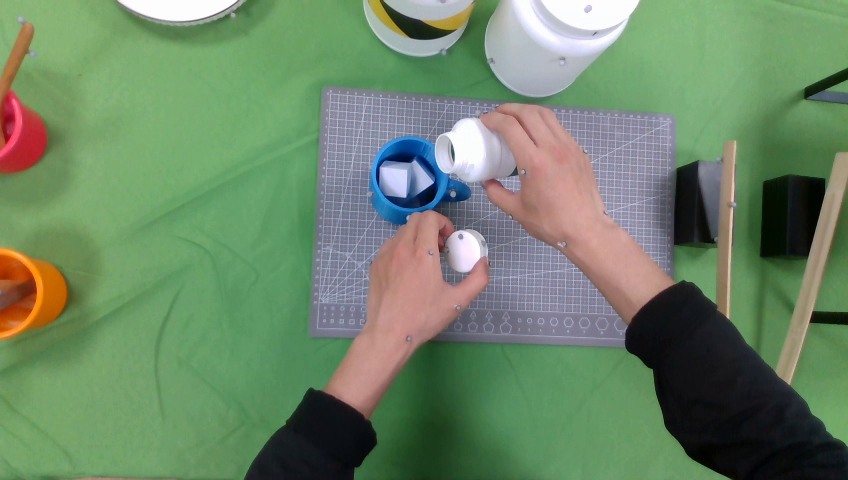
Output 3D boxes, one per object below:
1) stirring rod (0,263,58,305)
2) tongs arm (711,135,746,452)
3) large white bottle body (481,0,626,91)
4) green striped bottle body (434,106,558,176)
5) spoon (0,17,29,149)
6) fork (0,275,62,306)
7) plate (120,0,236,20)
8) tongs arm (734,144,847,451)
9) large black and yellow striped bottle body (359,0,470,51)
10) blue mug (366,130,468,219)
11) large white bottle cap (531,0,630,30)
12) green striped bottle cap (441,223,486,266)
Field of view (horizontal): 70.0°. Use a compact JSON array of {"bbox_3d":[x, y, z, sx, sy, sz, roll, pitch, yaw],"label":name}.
[{"bbox_3d":[-0.448,0.071,0.604,0.014,0.006,0.175,50,40,-5],"label":"stirring rod"},{"bbox_3d":[0.369,0.069,0.725,0.051,0.026,0.385,-2,98,-10],"label":"tongs arm"},{"bbox_3d":[0.144,-0.256,0.677,0.131,0.184,0.130,1,86,-7],"label":"large white bottle body"},{"bbox_3d":[0.069,-0.098,0.600,0.120,0.063,0.063,-11,87,-30],"label":"green striped bottle body"},{"bbox_3d":[-0.433,-0.149,0.617,0.041,0.021,0.194,49,125,2],"label":"spoon"},{"bbox_3d":[-0.469,0.032,0.598,0.209,0.018,0.028,28,78,-48],"label":"fork"},{"bbox_3d":[-0.286,-0.353,0.702,0.208,0.039,0.207,1,87,-7],"label":"plate"},{"bbox_3d":[0.450,0.074,0.738,0.028,0.027,0.388,11,96,-15],"label":"tongs arm"},{"bbox_3d":[-0.004,-0.301,0.661,0.131,0.184,0.130,1,85,-7],"label":"large black and yellow striped bottle body"},{"bbox_3d":[-0.008,-0.067,0.683,0.117,0.106,0.082,11,84,-7],"label":"blue mug"},{"bbox_3d":[0.154,-0.264,0.594,0.115,0.018,0.114,1,86,-8],"label":"large white bottle cap"},{"bbox_3d":[0.040,0.005,0.613,0.044,0.020,0.044,2,94,32],"label":"green striped bottle cap"}]
